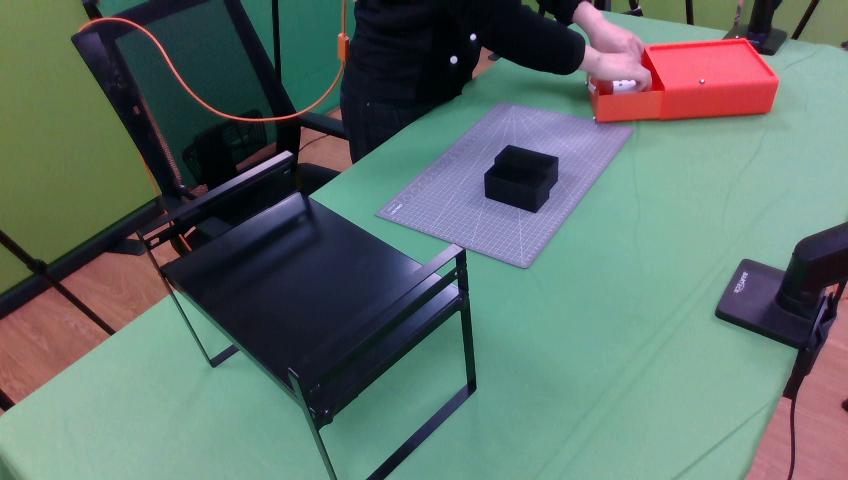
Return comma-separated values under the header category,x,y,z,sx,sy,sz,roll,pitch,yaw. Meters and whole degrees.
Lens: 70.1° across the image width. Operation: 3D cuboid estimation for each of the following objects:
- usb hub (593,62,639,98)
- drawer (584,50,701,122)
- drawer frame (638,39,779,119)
category,x,y,z,sx,sy,sz,roll,pitch,yaw
usb hub,0.399,-0.326,1.251,0.049,0.025,0.125,23,52,28
drawer,0.447,-0.320,1.247,0.212,0.073,0.193,1,41,4
drawer frame,0.564,-0.329,1.227,0.213,0.083,0.201,-2,40,5
